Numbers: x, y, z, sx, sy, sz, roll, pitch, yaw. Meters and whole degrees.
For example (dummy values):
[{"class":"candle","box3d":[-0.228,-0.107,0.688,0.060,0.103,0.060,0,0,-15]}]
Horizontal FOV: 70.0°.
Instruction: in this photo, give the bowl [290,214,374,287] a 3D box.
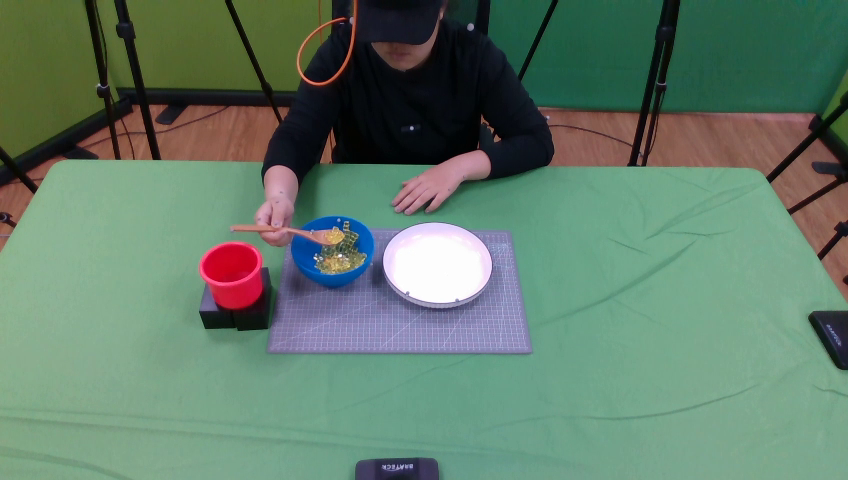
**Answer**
[{"class":"bowl","box3d":[-0.166,0.032,1.111,0.151,0.077,0.150,2,46,-2]}]

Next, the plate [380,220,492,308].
[{"class":"plate","box3d":[0.022,0.048,1.137,0.208,0.039,0.206,2,46,-2]}]

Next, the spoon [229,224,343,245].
[{"class":"spoon","box3d":[-0.232,-0.015,1.034,0.194,0.022,0.041,8,39,-27]}]
